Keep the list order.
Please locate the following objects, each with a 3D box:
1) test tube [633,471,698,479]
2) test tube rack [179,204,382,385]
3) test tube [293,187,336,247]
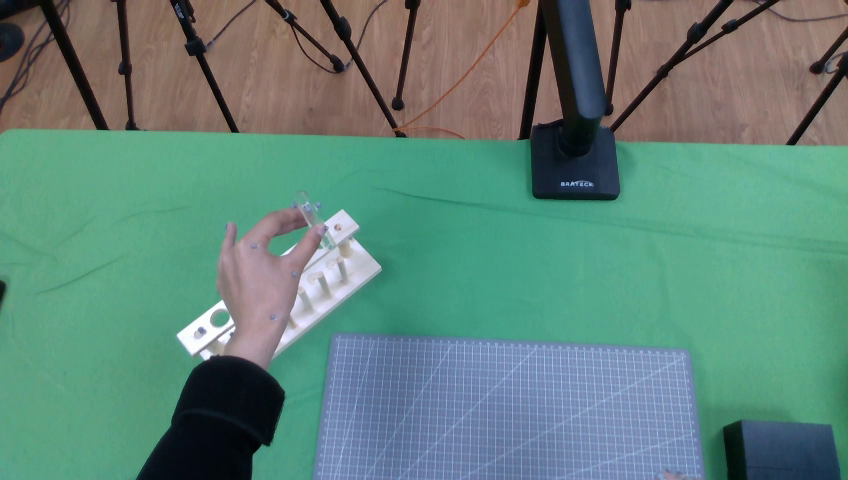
[{"bbox_3d":[0.184,0.199,0.489,0.017,0.151,0.017,0,66,0],"label":"test tube"},{"bbox_3d":[-0.170,0.067,0.754,0.242,0.086,0.066,-39,70,-15],"label":"test tube rack"},{"bbox_3d":[-0.111,-0.021,0.630,0.017,0.151,0.017,-1,72,2],"label":"test tube"}]
